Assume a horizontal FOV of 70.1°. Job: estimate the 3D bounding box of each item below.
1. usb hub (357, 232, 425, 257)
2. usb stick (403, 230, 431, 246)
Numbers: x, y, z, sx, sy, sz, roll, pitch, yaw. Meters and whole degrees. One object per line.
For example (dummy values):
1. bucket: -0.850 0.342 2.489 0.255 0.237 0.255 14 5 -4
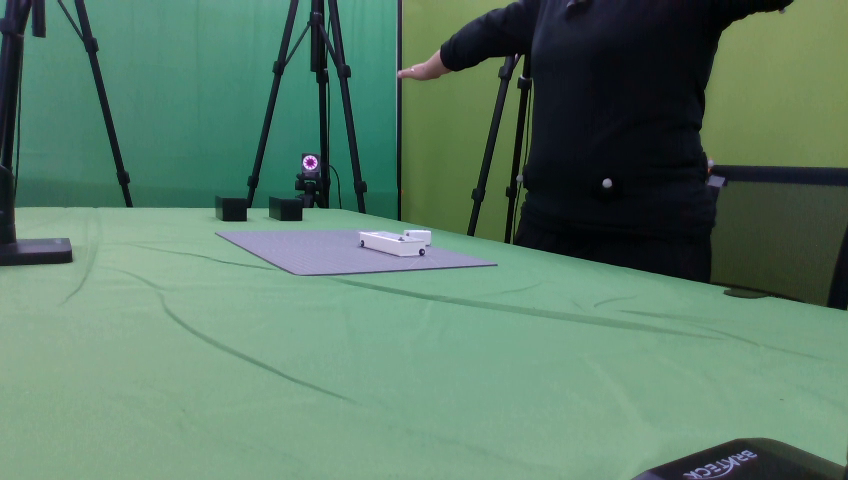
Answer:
1. usb hub: -0.055 0.005 0.947 0.050 0.025 0.124 -3 9 -36
2. usb stick: -0.019 -0.003 1.020 0.059 0.027 0.021 -6 15 -34
